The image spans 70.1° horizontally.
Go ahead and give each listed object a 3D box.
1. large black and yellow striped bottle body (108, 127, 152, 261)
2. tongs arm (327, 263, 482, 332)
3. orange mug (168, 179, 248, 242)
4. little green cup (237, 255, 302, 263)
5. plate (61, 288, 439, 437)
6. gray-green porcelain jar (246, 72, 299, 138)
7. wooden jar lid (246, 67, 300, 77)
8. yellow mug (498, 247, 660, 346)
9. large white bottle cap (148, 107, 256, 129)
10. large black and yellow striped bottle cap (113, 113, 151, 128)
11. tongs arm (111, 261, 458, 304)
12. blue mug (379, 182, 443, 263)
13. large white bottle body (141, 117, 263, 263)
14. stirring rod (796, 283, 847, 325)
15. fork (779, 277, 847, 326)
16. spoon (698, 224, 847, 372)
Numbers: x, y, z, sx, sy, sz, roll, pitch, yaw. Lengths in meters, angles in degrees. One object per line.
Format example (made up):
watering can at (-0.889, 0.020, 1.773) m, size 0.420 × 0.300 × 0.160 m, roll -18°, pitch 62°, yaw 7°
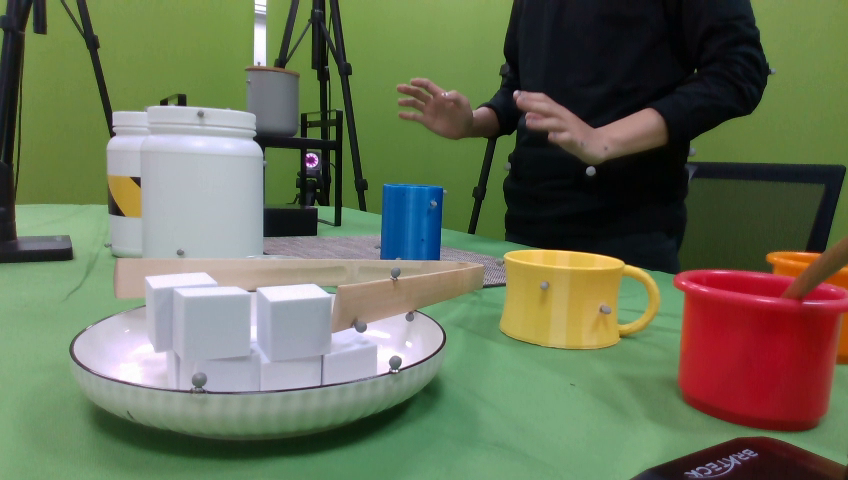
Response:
large black and yellow striped bottle body at (-0.350, -0.071, 0.812) m, size 0.131 × 0.184 × 0.130 m, roll 2°, pitch 7°, yaw 0°
tongs arm at (-0.003, 0.036, 0.493) m, size 0.050 × 0.026 × 0.386 m, roll 1°, pitch 0°, yaw 19°
orange mug at (-0.351, -0.050, 0.986) m, size 0.126 × 0.101 × 0.083 m, roll -3°, pitch 8°, yaw -9°
little green cup at (-0.150, 0.038, 0.590) m, size 0.061 × 0.038 × 0.061 m, roll 3°, pitch 6°, yaw 0°
plate at (-0.095, 0.069, 0.362) m, size 0.208 × 0.039 × 0.207 m, roll 3°, pitch 7°, yaw 0°
gray-green porcelain jar at (-0.314, -0.277, 1.256) m, size 0.106 × 0.126 × 0.106 m, roll 3°, pitch 8°, yaw 0°
wooden jar lid at (-0.312, -0.339, 1.247) m, size 0.108 × 0.020 × 0.108 m, roll 4°, pitch 8°, yaw 0°
yellow mug at (0.130, 0.045, 0.508) m, size 0.131 × 0.064 × 0.100 m, roll 4°, pitch 7°, yaw 6°
large white bottle cap at (-0.250, -0.137, 0.686) m, size 0.115 × 0.018 × 0.115 m, roll 2°, pitch 8°, yaw 0°
large black and yellow striped bottle cap at (-0.348, -0.154, 0.800) m, size 0.115 × 0.019 × 0.115 m, roll 2°, pitch 6°, yaw 0°
tongs arm at (-0.080, 0.032, 0.527) m, size 0.028 × 0.027 × 0.389 m, roll -3°, pitch -3°, yaw 33°
blue mug at (-0.020, -0.026, 0.833) m, size 0.082 × 0.106 × 0.116 m, roll 1°, pitch 7°, yaw -7°
large white bottle body at (-0.254, -0.054, 0.697) m, size 0.131 × 0.184 × 0.130 m, roll 2°, pitch 7°, yaw 0°
stirring rod at (0.346, 0.019, 0.460) m, size 0.014 × 0.176 × 0.006 m, roll -17°, pitch 59°, yaw -26°
fork at (0.335, 0.018, 0.443) m, size 0.028 × 0.018 × 0.207 m, roll -1°, pitch -36°, yaw -20°
spoon at (0.195, 0.032, 0.323) m, size 0.041 × 0.021 × 0.194 m, roll 1°, pitch -36°, yaw 2°
